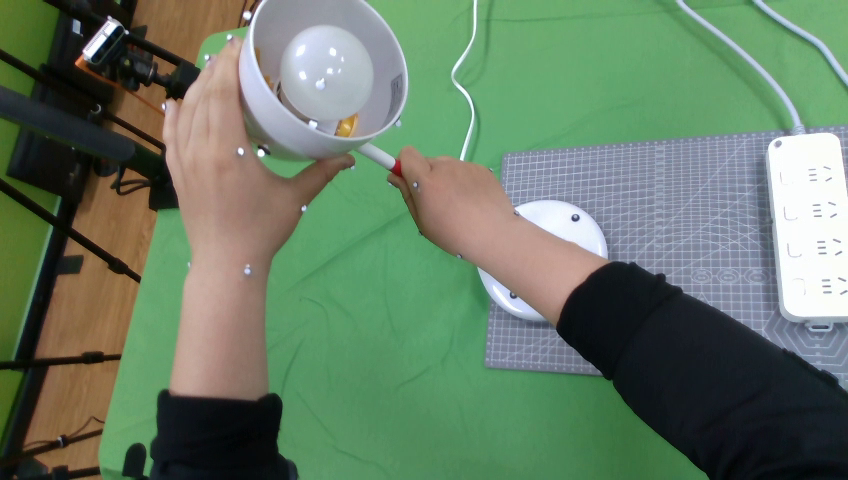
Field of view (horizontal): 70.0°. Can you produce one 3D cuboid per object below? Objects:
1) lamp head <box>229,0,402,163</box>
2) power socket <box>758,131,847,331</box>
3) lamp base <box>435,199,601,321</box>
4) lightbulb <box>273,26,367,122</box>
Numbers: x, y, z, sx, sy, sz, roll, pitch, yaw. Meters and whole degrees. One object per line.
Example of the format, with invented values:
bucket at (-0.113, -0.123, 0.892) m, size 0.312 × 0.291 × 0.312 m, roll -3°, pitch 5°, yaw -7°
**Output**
lamp head at (-0.088, -0.103, 0.441) m, size 0.123 × 0.113 × 0.111 m, roll -29°, pitch 52°, yaw 58°
power socket at (0.411, -0.016, 0.656) m, size 0.072 × 0.033 × 0.225 m, roll -3°, pitch 70°, yaw 22°
lamp base at (0.098, -0.001, 0.699) m, size 0.178 × 0.182 × 0.159 m, roll -8°, pitch 68°, yaw 25°
lightbulb at (-0.080, -0.105, 0.416) m, size 0.107 × 0.060 × 0.059 m, roll -13°, pitch 61°, yaw 56°
